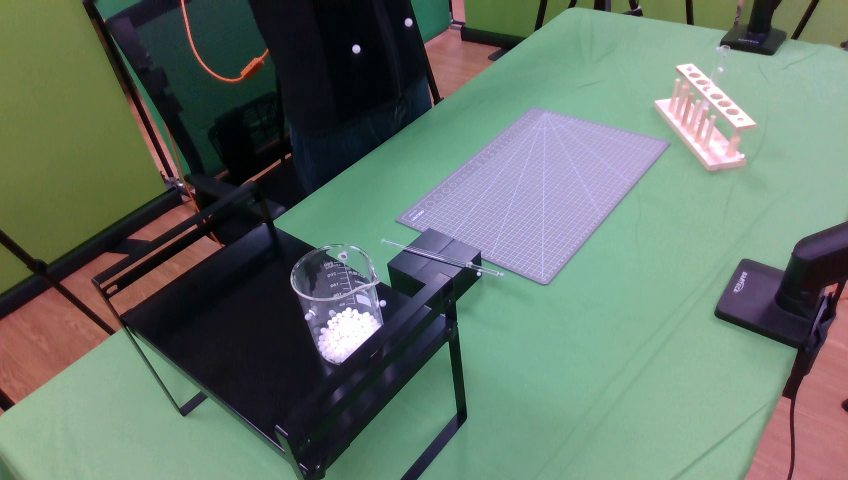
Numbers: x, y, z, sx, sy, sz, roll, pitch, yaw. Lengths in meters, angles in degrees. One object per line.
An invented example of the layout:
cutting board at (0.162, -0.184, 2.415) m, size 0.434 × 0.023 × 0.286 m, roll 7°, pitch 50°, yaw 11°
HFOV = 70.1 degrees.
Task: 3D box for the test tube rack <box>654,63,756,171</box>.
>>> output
test tube rack at (0.510, -0.233, 1.120) m, size 0.067 × 0.085 × 0.241 m, roll -8°, pitch 41°, yaw -1°

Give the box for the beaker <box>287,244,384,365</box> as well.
beaker at (-0.076, 0.064, 0.575) m, size 0.083 × 0.101 × 0.074 m, roll 6°, pitch 43°, yaw 15°

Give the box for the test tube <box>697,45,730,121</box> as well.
test tube at (0.523, -0.280, 1.096) m, size 0.017 × 0.151 × 0.017 m, roll 0°, pitch 44°, yaw 1°

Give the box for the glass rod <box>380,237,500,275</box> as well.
glass rod at (0.019, 0.023, 0.881) m, size 0.198 × 0.008 × 0.008 m, roll 16°, pitch 46°, yaw 25°
